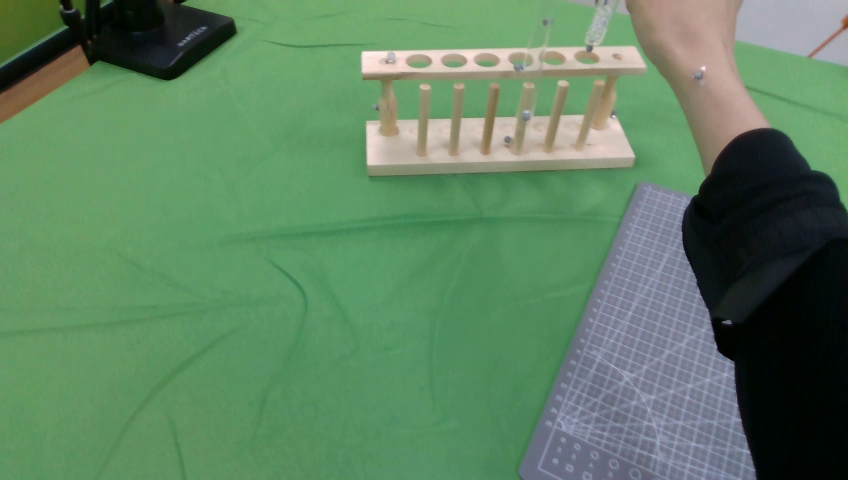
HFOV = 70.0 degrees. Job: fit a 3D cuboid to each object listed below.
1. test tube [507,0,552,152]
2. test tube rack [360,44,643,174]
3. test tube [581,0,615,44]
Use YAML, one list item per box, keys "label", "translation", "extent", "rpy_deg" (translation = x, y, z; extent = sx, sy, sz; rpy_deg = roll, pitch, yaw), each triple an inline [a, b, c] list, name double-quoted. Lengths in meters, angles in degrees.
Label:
- label: "test tube"
  translation: [0.085, -0.135, 0.497]
  extent: [0.017, 0.152, 0.017]
  rpy_deg: [1, 47, -1]
- label: "test tube rack"
  translation: [0.067, -0.117, 0.540]
  extent: [0.243, 0.086, 0.066]
  rpy_deg: [-3, 48, -4]
- label: "test tube"
  translation: [0.140, -0.198, 0.437]
  extent: [0.017, 0.151, 0.017]
  rpy_deg: [1, 65, -3]
